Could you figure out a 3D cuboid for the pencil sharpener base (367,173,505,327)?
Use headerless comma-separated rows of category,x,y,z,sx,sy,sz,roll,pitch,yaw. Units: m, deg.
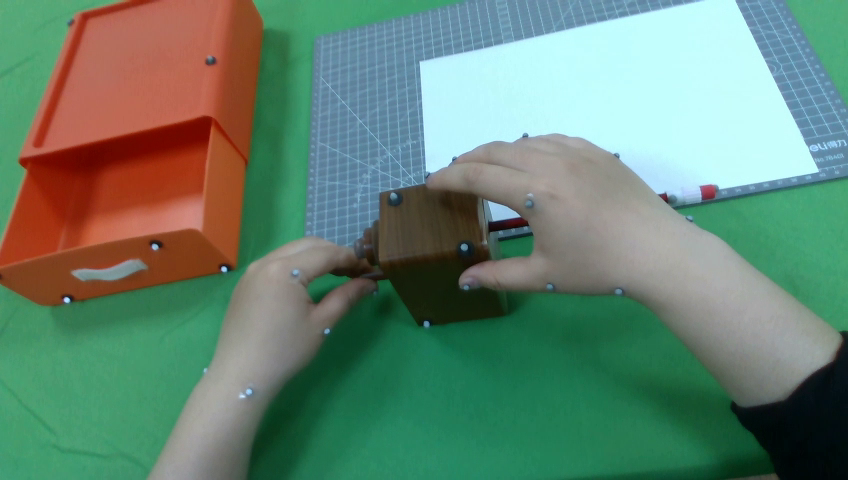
pencil sharpener base,0.011,0.012,0.427,0.076,0.108,0.061,-10,58,10

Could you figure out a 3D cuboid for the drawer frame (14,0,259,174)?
drawer frame,-0.282,-0.155,0.622,0.201,0.083,0.211,-11,57,9

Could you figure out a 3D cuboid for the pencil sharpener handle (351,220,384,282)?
pencil sharpener handle,-0.041,0.013,0.427,0.030,0.068,0.035,-10,64,11

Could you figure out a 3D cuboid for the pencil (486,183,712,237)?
pencil,0.084,-0.013,0.390,0.194,0.012,0.012,-11,57,10

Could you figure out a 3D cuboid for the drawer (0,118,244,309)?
drawer,-0.271,-0.055,0.562,0.194,0.074,0.209,-12,57,9
